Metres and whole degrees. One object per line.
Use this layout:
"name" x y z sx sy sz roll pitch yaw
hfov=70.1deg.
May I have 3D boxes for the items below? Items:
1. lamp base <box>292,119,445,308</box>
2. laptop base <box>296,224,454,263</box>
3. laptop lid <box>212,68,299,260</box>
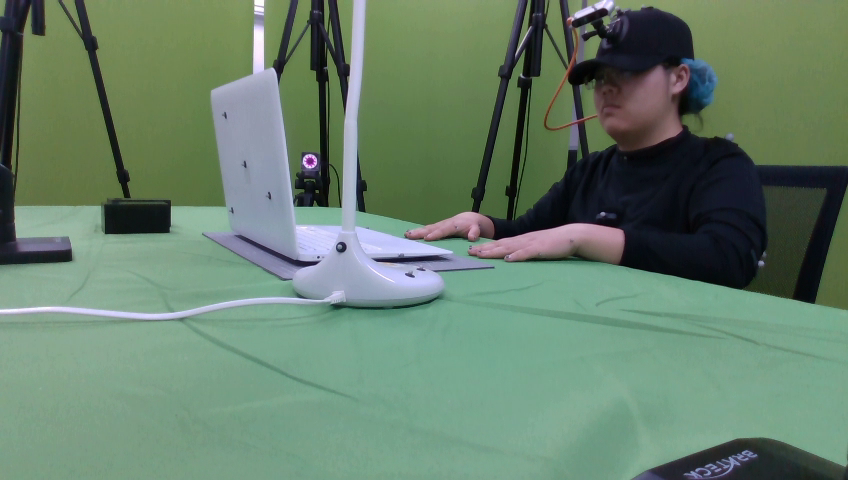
"lamp base" -0.056 -0.030 0.616 0.160 0.180 0.179 3 10 8
"laptop base" -0.143 0.003 0.957 0.237 0.023 0.352 2 7 -32
"laptop lid" -0.254 -0.110 0.872 0.013 0.241 0.355 -11 14 -30
